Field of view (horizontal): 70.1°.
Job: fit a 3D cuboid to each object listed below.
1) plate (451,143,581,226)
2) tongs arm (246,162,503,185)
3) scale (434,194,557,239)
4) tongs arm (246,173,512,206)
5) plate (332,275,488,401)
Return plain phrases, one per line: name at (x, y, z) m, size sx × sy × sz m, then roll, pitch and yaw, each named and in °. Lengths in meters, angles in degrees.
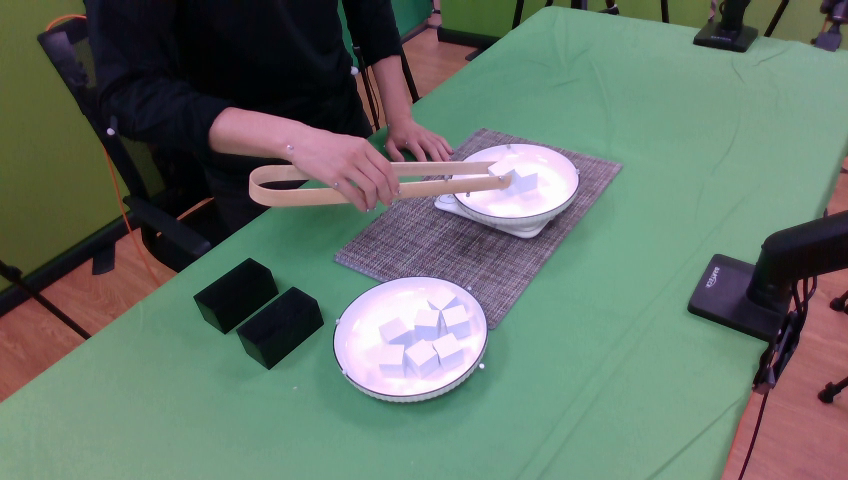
plate at (0.148, -0.087, 0.986) m, size 0.209 × 0.038 × 0.208 m, roll -4°, pitch 41°, yaw 4°
tongs arm at (-0.055, -0.094, 0.862) m, size 0.390 × 0.028 × 0.028 m, roll -5°, pitch 47°, yaw -25°
scale at (0.132, -0.075, 1.025) m, size 0.199 × 0.032 × 0.149 m, roll 22°, pitch 48°, yaw 30°
tongs arm at (-0.047, -0.080, 0.846) m, size 0.387 × 0.026 × 0.050 m, roll -8°, pitch 45°, yaw -28°
plate at (-0.017, 0.131, 0.808) m, size 0.207 × 0.039 × 0.206 m, roll -4°, pitch 41°, yaw 4°
